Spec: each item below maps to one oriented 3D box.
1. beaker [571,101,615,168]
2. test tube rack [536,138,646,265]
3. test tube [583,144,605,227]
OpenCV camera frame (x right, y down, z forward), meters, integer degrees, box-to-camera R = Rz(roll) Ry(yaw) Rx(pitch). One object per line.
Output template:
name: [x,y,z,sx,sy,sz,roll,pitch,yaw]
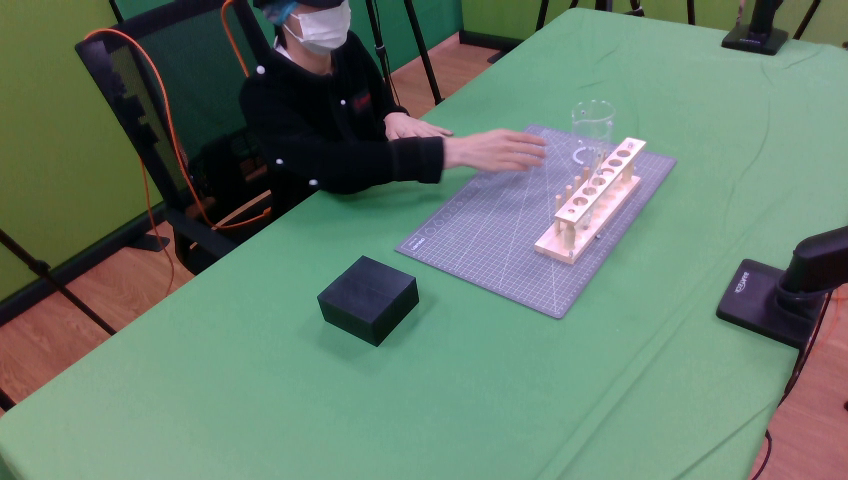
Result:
beaker: [0.299,-0.186,1.086,0.084,0.101,0.073,-27,43,-21]
test tube rack: [0.268,-0.071,0.964,0.066,0.085,0.243,23,49,32]
test tube: [0.251,-0.077,0.896,0.017,0.151,0.017,-2,43,3]
